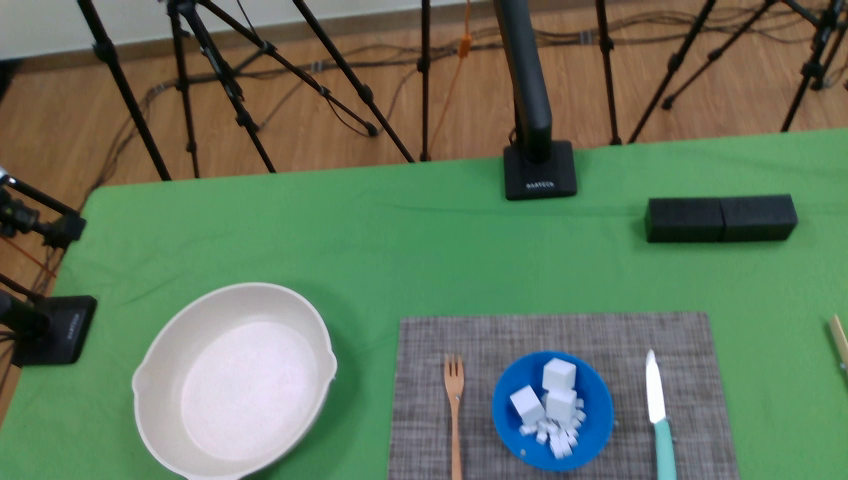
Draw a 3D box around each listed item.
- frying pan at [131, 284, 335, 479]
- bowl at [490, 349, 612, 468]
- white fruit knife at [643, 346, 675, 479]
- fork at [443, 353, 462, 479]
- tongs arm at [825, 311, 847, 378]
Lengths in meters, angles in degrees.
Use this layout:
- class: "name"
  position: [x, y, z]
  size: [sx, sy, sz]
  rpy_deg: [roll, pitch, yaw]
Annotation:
- class: "frying pan"
  position: [-0.275, 0.285, 0.825]
  size: [0.306, 0.104, 0.483]
  rpy_deg: [-5, 49, 9]
- class: "bowl"
  position: [0.164, 0.227, 0.791]
  size: [0.151, 0.077, 0.150]
  rpy_deg: [-5, 58, 8]
- class: "white fruit knife"
  position: [0.307, 0.235, 0.797]
  size: [0.027, 0.016, 0.205]
  rpy_deg: [5, 58, 1]
- class: "fork"
  position: [0.041, 0.254, 0.832]
  size: [0.028, 0.019, 0.205]
  rpy_deg: [0, 56, 0]
- class: "tongs arm"
  position: [0.569, 0.262, 0.729]
  size: [0.028, 0.028, 0.383]
  rpy_deg: [-7, 57, 4]
